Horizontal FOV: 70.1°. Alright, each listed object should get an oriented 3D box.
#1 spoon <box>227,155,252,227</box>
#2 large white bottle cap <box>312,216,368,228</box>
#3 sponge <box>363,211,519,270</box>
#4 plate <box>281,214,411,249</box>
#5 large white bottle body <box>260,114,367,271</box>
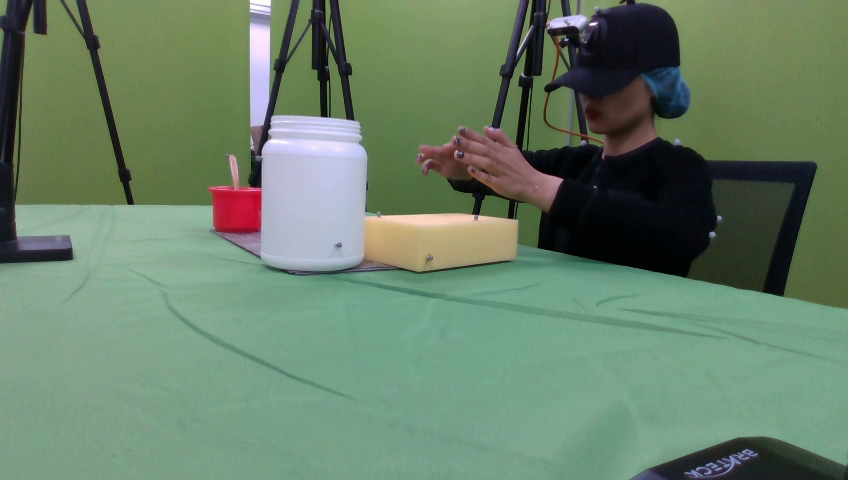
[{"bbox_3d":[-0.343,-0.093,1.108,0.042,0.021,0.193,-1,52,-22],"label":"spoon"},{"bbox_3d":[-0.171,-0.038,1.234,0.115,0.018,0.115,2,5,0],"label":"large white bottle cap"},{"bbox_3d":[0.026,-0.004,0.858,0.117,0.061,0.208,9,10,44],"label":"sponge"},{"bbox_3d":[-0.125,-0.014,0.979,0.209,0.038,0.209,2,7,0],"label":"plate"},{"bbox_3d":[-0.139,-0.062,0.763,0.131,0.184,0.130,3,8,0],"label":"large white bottle body"}]
